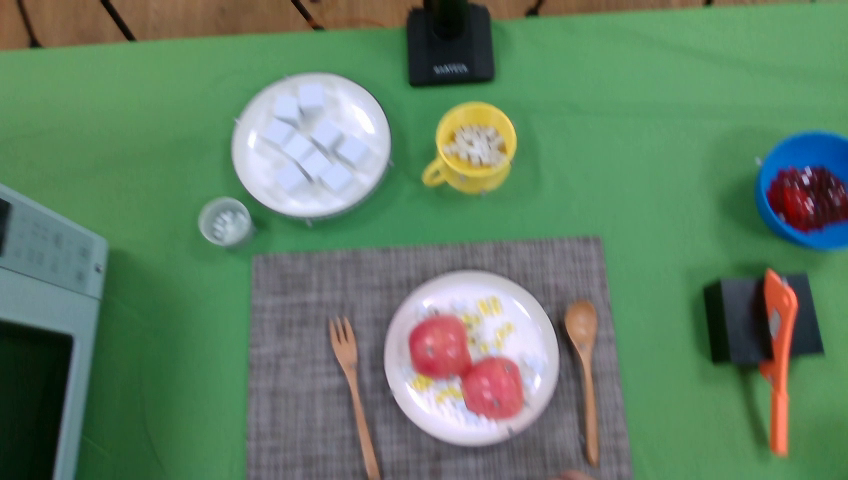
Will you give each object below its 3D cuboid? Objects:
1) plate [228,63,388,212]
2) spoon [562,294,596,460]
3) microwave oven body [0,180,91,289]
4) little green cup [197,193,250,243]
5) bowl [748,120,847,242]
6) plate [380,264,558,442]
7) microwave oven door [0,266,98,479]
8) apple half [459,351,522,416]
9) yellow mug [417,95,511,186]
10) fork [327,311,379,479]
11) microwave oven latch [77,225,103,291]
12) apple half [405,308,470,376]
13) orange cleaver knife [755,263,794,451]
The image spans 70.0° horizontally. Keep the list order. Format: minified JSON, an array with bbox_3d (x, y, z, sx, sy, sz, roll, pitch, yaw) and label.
[{"bbox_3d":[-0.150,-0.132,0.799,0.208,0.039,0.206,0,76,1],"label":"plate"},{"bbox_3d":[0.190,0.161,0.721,0.042,0.021,0.192,3,74,-20],"label":"spoon"},{"bbox_3d":[-0.568,0.169,0.610,0.326,0.261,0.439,0,76,1],"label":"microwave oven body"},{"bbox_3d":[-0.253,-0.025,0.772,0.061,0.039,0.061,0,77,1],"label":"little green cup"},{"bbox_3d":[0.467,-0.063,0.748,0.151,0.077,0.150,0,76,1],"label":"bowl"},{"bbox_3d":[0.052,0.133,0.723,0.209,0.038,0.208,0,76,1],"label":"plate"},{"bbox_3d":[-0.422,0.208,0.593,0.039,0.245,0.354,-1,75,2],"label":"microwave oven door"},{"bbox_3d":[0.078,0.168,0.707,0.081,0.033,0.081,-1,73,2],"label":"apple half"},{"bbox_3d":[0.046,-0.118,0.777,0.131,0.064,0.099,-34,77,-7],"label":"yellow mug"},{"bbox_3d":[-0.083,0.186,0.721,0.028,0.019,0.206,-11,74,-18],"label":"fork"},{"bbox_3d":[-0.417,0.022,0.744,0.030,0.029,0.079,2,76,1],"label":"microwave oven latch"},{"bbox_3d":[0.014,0.119,0.711,0.074,0.053,0.080,-6,76,2],"label":"apple half"},{"bbox_3d":[0.399,0.134,0.697,0.012,0.077,0.212,-2,99,5],"label":"orange cleaver knife"}]
